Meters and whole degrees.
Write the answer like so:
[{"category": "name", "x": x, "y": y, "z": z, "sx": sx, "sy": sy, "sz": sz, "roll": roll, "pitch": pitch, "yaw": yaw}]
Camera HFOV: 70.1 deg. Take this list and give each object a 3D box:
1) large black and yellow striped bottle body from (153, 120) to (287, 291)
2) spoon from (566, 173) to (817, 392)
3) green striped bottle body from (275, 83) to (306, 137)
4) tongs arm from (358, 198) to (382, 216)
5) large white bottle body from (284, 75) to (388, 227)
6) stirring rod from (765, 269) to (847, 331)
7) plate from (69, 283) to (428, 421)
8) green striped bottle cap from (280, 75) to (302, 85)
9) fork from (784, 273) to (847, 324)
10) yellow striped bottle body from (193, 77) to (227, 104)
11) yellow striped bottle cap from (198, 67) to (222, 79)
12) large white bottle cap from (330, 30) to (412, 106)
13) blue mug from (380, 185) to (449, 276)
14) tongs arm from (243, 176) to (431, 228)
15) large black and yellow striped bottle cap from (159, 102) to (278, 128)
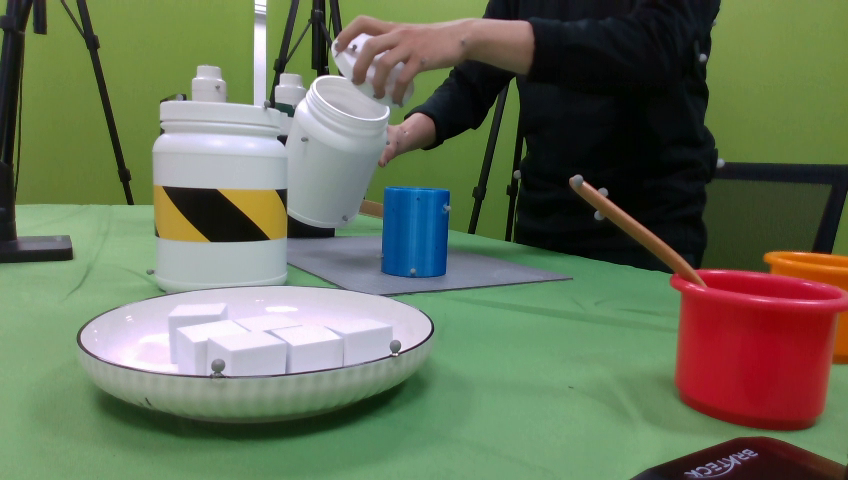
[{"category": "large black and yellow striped bottle body", "x": -0.208, "y": -0.042, "z": 0.626, "sx": 0.131, "sy": 0.184, "sz": 0.130, "roll": 2, "pitch": 7, "yaw": 0}, {"category": "spoon", "x": 0.161, "y": 0.024, "z": 0.370, "sx": 0.193, "sy": 0.021, "sz": 0.042, "roll": 47, "pitch": 18, "yaw": 3}, {"category": "green striped bottle body", "x": -0.269, "y": -0.269, "z": 1.221, "sx": 0.063, "sy": 0.119, "sz": 0.063, "roll": 2, "pitch": 7, "yaw": 0}, {"category": "tongs arm", "x": -0.122, "y": -0.066, "z": 1.147, "sx": 0.387, "sy": 0.026, "sz": 0.050, "roll": 11, "pitch": -2, "yaw": -37}, {"category": "large white bottle body", "x": -0.131, "y": -0.125, "z": 0.857, "sx": 0.131, "sy": 0.184, "sz": 0.130, "roll": 18, "pitch": 35, "yaw": -13}, {"category": "stirring rod", "x": 0.351, "y": 0.020, "z": 0.484, "sx": 0.176, "sy": 0.006, "sz": 0.014, "roll": -40, "pitch": -6, "yaw": 12}, {"category": "plate", "x": -0.102, "y": 0.066, "z": 0.381, "sx": 0.208, "sy": 0.039, "sz": 0.207, "roll": 2, "pitch": 7, "yaw": 0}, {"category": "green striped bottle cap", "x": -0.267, "y": -0.320, "z": 1.216, "sx": 0.044, "sy": 0.020, "sz": 0.044, "roll": 2, "pitch": 9, "yaw": 0}, {"category": "fork", "x": 0.332, "y": 0.018, "z": 0.444, "sx": 0.028, "sy": 0.018, "sz": 0.207, "roll": -2, "pitch": -35, "yaw": -15}, {"category": "yellow striped bottle body", "x": -0.414, "y": -0.268, "z": 1.169, "sx": 0.063, "sy": 0.120, "sz": 0.063, "roll": 2, "pitch": 7, "yaw": 0}, {"category": "yellow striped bottle cap", "x": -0.412, "y": -0.320, "z": 1.163, "sx": 0.044, "sy": 0.018, "sz": 0.044, "roll": 0, "pitch": 6, "yaw": 0}, {"category": "large white bottle cap", "x": -0.065, "y": -0.219, "z": 0.764, "sx": 0.115, "sy": 0.114, "sz": 0.018, "roll": -7, "pitch": -29, "yaw": -49}, {"category": "blue mug", "x": -0.019, "y": -0.016, "z": 0.764, "sx": 0.083, "sy": 0.106, "sz": 0.116, "roll": -1, "pitch": 8, "yaw": -25}, {"category": "tongs arm", "x": -0.165, "y": -0.074, "z": 1.216, "sx": 0.389, "sy": 0.027, "sz": 0.028, "roll": 11, "pitch": -6, "yaw": -24}, {"category": "large black and yellow striped bottle cap", "x": -0.207, "y": -0.125, "z": 0.615, "sx": 0.115, "sy": 0.019, "sz": 0.115, "roll": 2, "pitch": 6, "yaw": 0}]
